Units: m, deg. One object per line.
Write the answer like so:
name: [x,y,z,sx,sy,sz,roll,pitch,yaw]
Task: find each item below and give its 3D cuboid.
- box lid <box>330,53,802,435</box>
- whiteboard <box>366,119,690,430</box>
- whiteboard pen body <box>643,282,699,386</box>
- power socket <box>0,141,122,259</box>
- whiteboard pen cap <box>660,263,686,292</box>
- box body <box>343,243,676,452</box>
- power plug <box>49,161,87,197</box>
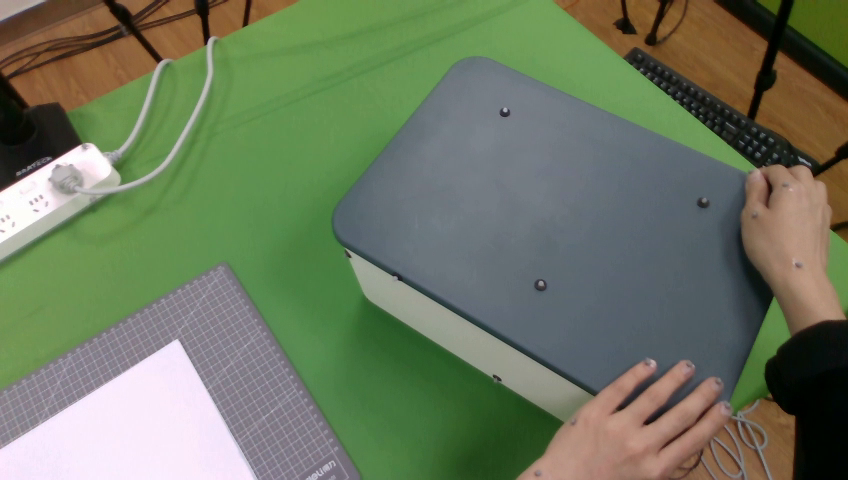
box lid: [0.125,-0.025,0.552,0.369,0.015,0.262,29,66,16]
whiteboard: [0.120,0.011,0.633,0.304,0.145,0.216,28,62,16]
whiteboard pen body: [0.268,0.097,0.649,0.017,0.017,0.140,30,63,17]
power socket: [-0.476,-0.042,0.734,0.226,0.033,0.071,-37,67,-18]
whiteboard pen cap: [0.276,0.042,0.671,0.018,0.018,0.033,32,67,18]
box body: [0.128,0.013,0.617,0.362,0.161,0.253,29,65,16]
power plug: [-0.419,-0.063,0.719,0.035,0.053,0.072,-28,70,-14]
